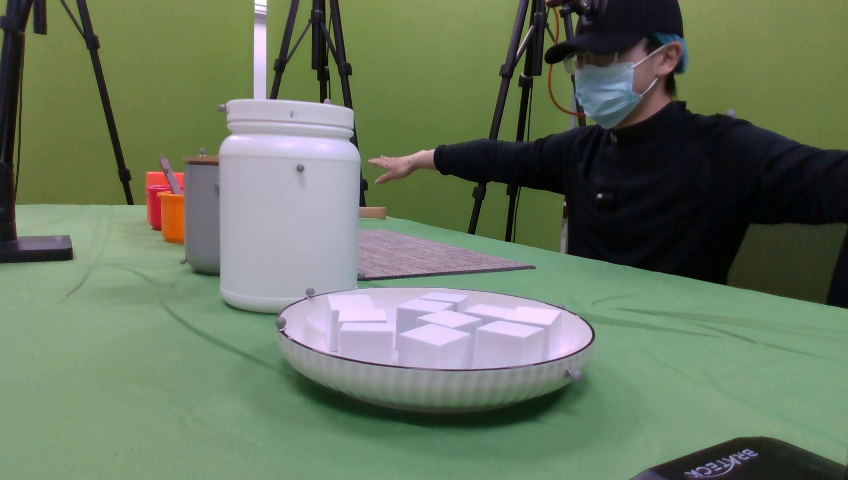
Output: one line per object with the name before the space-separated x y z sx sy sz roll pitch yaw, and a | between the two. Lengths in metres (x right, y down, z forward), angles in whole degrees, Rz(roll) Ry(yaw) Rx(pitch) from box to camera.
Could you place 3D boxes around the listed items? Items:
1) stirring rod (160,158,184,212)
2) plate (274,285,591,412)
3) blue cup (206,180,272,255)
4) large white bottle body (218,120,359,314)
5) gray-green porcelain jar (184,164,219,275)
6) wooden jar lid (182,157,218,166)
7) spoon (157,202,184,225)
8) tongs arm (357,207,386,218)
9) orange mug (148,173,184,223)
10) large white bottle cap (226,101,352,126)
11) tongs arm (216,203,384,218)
stirring rod | -0.390 -0.070 0.972 0.014 0.006 0.175 -2 50 -48
plate | 0.005 0.069 0.408 0.208 0.039 0.207 2 7 0
blue cup | -0.261 -0.033 0.865 0.093 0.100 0.092 3 9 0
large white bottle body | -0.128 -0.033 0.578 0.131 0.184 0.130 2 7 0
gray-green porcelain jar | -0.230 -0.025 0.722 0.106 0.126 0.106 3 7 0
wooden jar lid | -0.227 -0.086 0.714 0.108 0.020 0.108 0 6 0
spoon | -0.425 -0.094 1.117 0.041 0.022 0.194 5 51 28
tongs arm | -0.251 -0.063 1.360 0.387 0.026 0.050 -1 4 -31
orange mug | -0.490 -0.087 1.222 0.127 0.101 0.083 -9 13 -38
large white bottle cap | -0.125 -0.116 0.566 0.115 0.018 0.115 2 8 0
tongs arm | -0.288 -0.070 1.435 0.389 0.027 0.028 1 0 -17
